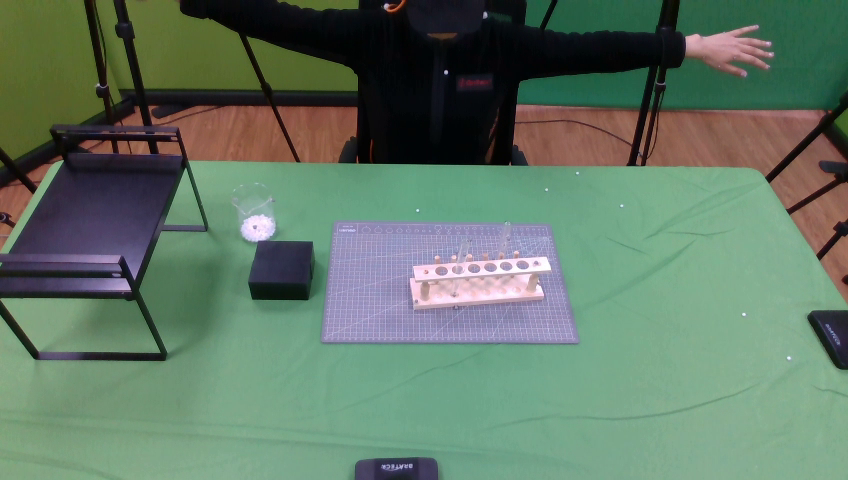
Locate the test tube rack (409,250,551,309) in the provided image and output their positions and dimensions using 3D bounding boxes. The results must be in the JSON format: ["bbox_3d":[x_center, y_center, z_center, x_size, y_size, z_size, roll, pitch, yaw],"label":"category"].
[{"bbox_3d":[0.098,0.065,1.096,0.243,0.085,0.066,-4,47,-8],"label":"test tube rack"}]

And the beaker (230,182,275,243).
[{"bbox_3d":[-0.328,-0.049,1.166,0.074,0.101,0.083,2,47,-2],"label":"beaker"}]

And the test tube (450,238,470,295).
[{"bbox_3d":[0.060,0.048,1.040,0.017,0.151,0.017,3,51,-4],"label":"test tube"}]

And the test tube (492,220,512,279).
[{"bbox_3d":[0.138,0.018,1.082,0.017,0.151,0.017,2,47,-2],"label":"test tube"}]
